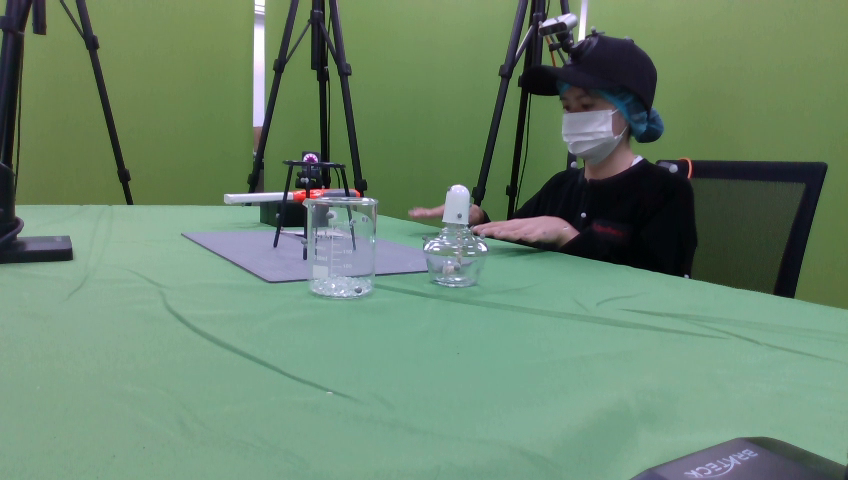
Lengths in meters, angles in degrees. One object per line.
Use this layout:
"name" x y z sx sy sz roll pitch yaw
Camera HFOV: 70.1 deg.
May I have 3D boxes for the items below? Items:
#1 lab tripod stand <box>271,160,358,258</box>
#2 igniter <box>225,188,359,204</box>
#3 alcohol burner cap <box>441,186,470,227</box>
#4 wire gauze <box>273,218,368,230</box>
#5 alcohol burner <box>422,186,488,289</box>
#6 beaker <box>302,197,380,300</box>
"lab tripod stand" -0.160 -0.048 0.876 0.148 0.131 0.148 3 5 0
"igniter" -0.264 -0.090 1.239 0.278 0.025 0.057 -5 12 -32
"alcohol burner cap" 0.038 -0.039 0.700 0.034 0.048 0.034 6 4 0
"wire gauze" -0.186 -0.028 1.088 0.124 0.011 0.122 0 7 36
"alcohol burner" 0.036 -0.004 0.705 0.078 0.119 0.078 0 7 0
"beaker" -0.089 0.007 0.625 0.084 0.100 0.074 4 7 16
